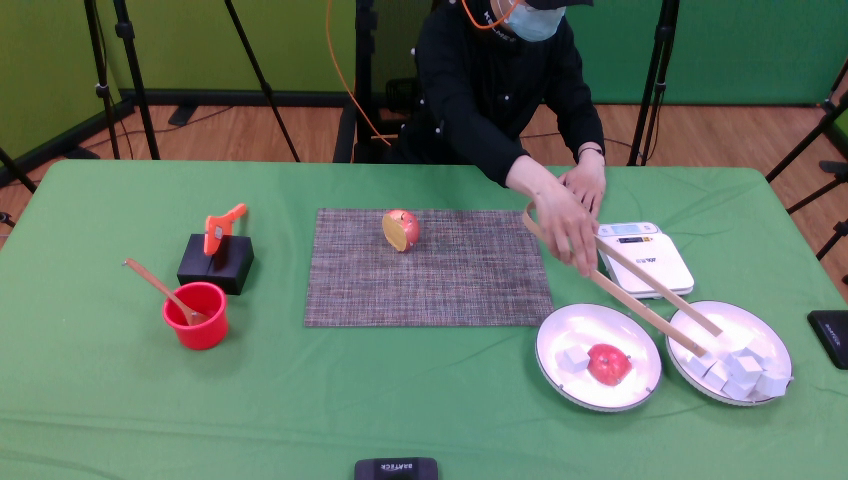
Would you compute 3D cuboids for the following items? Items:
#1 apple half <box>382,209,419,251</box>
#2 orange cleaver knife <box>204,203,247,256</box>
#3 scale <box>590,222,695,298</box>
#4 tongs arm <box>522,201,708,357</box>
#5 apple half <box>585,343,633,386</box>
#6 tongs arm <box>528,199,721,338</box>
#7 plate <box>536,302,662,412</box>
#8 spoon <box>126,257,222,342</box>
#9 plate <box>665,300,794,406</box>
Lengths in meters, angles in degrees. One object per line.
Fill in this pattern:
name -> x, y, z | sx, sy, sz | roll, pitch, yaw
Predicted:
apple half -> -0.039, -0.022, 1.175 | 0.053, 0.075, 0.080 | -27, 49, -31
orange cleaver knife -> -0.374, -0.024, 1.146 | 0.012, 0.077, 0.211 | 4, 14, 1
scale -> 0.424, 0.031, 1.189 | 0.149, 0.032, 0.199 | -3, 46, -7
tongs arm -> 0.322, 0.060, 1.045 | 0.383, 0.026, 0.050 | 37, 60, 16
apple half -> 0.309, 0.198, 1.008 | 0.081, 0.033, 0.081 | 4, 48, -4
tongs arm -> 0.343, 0.043, 1.060 | 0.386, 0.028, 0.028 | 39, 64, 17
plate -> 0.288, 0.196, 1.016 | 0.209, 0.038, 0.208 | 2, 46, -2
spoon -> -0.408, 0.096, 0.990 | 0.194, 0.021, 0.041 | 50, 53, -18
plate -> 0.514, 0.194, 1.033 | 0.208, 0.039, 0.206 | 2, 46, -2
